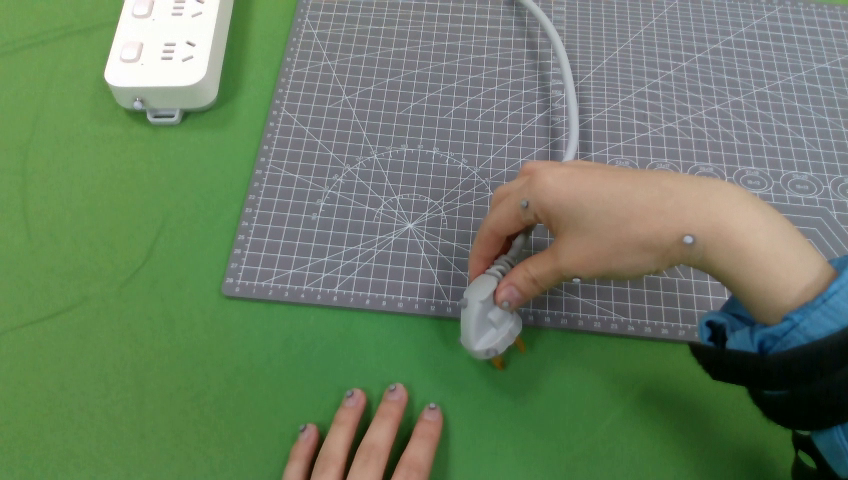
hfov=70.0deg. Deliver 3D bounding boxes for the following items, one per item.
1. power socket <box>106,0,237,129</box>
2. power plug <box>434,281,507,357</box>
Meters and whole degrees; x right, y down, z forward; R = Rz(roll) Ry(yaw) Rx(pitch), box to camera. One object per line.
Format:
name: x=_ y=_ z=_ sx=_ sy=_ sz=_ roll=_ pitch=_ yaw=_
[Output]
power socket: x=-0.182 y=-0.186 z=0.463 sx=0.072 sy=0.033 sz=0.225 roll=0 pitch=63 yaw=-2
power plug: x=0.023 y=0.034 z=0.330 sx=0.035 sy=0.073 sz=0.052 roll=-30 pitch=43 yaw=-4
